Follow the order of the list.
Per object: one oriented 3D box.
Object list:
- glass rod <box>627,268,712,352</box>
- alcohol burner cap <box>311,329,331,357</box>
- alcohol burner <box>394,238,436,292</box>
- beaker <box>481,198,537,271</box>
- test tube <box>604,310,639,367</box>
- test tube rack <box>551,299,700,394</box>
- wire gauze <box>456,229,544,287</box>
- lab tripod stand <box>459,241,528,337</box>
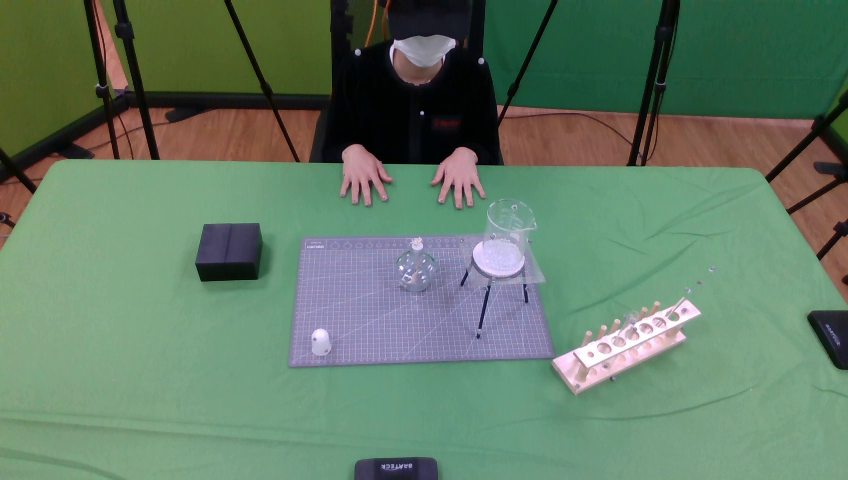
[{"bbox_3d":[0.399,0.117,0.995,0.008,0.200,0.008,26,29,-15],"label":"glass rod"},{"bbox_3d":[-0.173,0.168,1.005,0.034,0.048,0.033,2,46,-2],"label":"alcohol burner cap"},{"bbox_3d":[-0.016,0.038,1.093,0.078,0.119,0.077,2,48,-2],"label":"alcohol burner"},{"bbox_3d":[0.134,-0.005,0.974,0.084,0.101,0.074,23,49,16],"label":"beaker"},{"bbox_3d":[0.310,0.158,0.957,0.017,0.151,0.017,1,49,-1],"label":"test tube"},{"bbox_3d":[0.339,0.166,1.021,0.242,0.085,0.066,-19,50,-21],"label":"test tube rack"},{"bbox_3d":[0.125,0.030,1.008,0.125,0.011,0.120,-3,48,-11],"label":"wire gauze"},{"bbox_3d":[0.122,0.075,1.054,0.148,0.132,0.147,3,44,-3],"label":"lab tripod stand"}]
